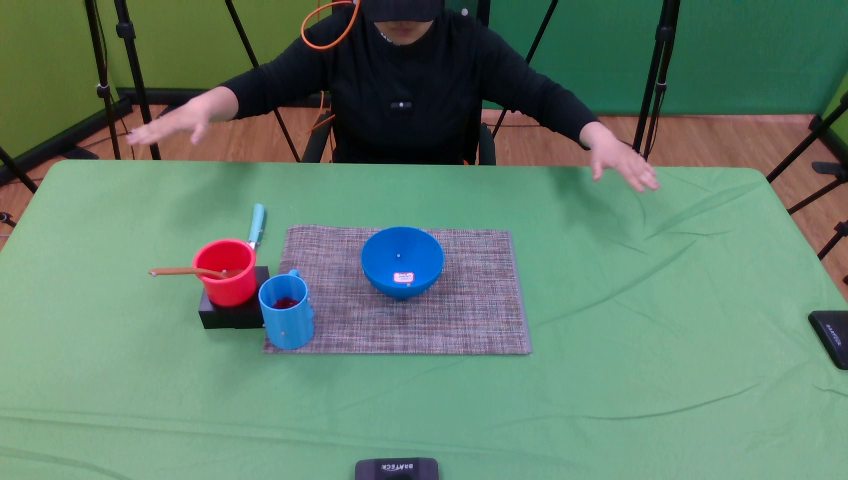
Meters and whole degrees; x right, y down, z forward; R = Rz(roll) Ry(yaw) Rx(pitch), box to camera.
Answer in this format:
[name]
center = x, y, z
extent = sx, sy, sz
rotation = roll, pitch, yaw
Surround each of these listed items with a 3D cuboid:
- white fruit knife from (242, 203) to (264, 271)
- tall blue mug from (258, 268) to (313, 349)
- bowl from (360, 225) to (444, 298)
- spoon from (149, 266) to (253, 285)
[white fruit knife]
center = -0.334, 0.000, 1.178
extent = 0.027, 0.016, 0.206
rotation = -18, 46, 16
[tall blue mug]
center = -0.232, 0.108, 1.010
extent = 0.078, 0.108, 0.106
rotation = -15, 49, -17
[bowl]
center = -0.040, 0.053, 1.099
extent = 0.151, 0.077, 0.150
rotation = 2, 46, -2
[spoon]
center = -0.351, 0.052, 0.968
extent = 0.041, 0.021, 0.194
rotation = 41, 12, 28
